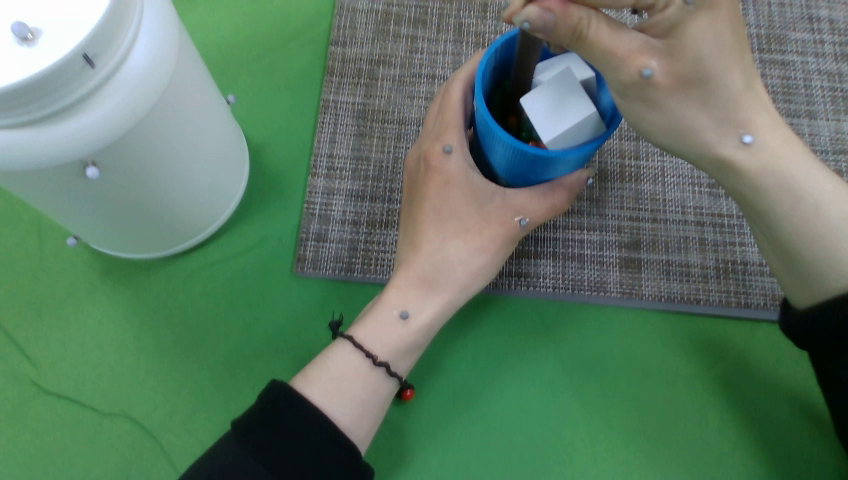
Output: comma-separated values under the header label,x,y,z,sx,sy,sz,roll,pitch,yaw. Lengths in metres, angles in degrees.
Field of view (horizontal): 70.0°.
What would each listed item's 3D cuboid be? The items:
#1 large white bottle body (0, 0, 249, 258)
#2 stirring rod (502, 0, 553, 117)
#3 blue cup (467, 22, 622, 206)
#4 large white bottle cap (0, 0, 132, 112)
label,x,y,z,sx,sy,sz,roll,pitch,yaw
large white bottle body,-0.185,-0.077,0.338,0.130,0.185,0.129,0,70,0
stirring rod,0.054,-0.103,0.308,0.014,0.177,0.006,-20,75,-3
blue cup,0.068,-0.068,0.379,0.092,0.101,0.092,-1,71,2
large white bottle cap,-0.185,-0.106,0.259,0.115,0.018,0.114,0,70,-1
